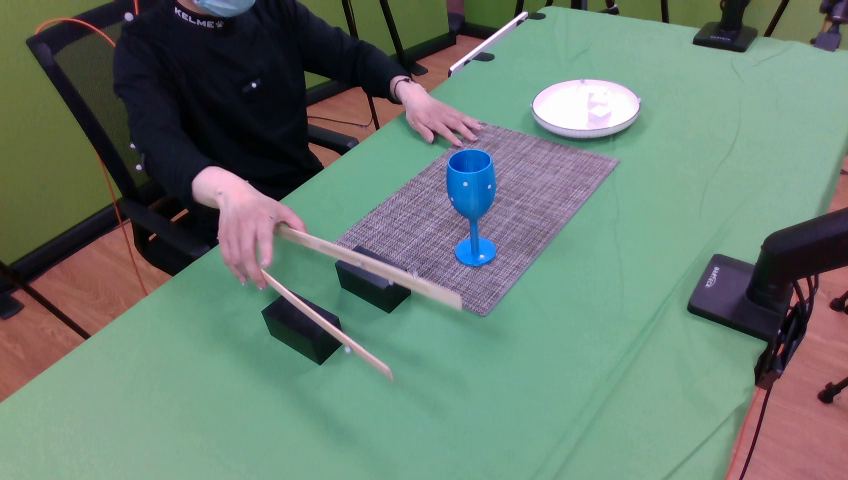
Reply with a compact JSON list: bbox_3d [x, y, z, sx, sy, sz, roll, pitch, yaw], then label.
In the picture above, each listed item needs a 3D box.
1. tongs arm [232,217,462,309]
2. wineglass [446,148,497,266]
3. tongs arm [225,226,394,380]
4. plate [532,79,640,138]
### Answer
[{"bbox_3d":[-0.122,0.032,0.846,0.382,0.026,0.051,21,50,29],"label":"tongs arm"},{"bbox_3d":[0.072,-0.045,0.889,0.074,0.173,0.073,-4,41,4],"label":"wineglass"},{"bbox_3d":[-0.168,0.074,0.806,0.028,0.028,0.384,-40,50,-24],"label":"tongs arm"},{"bbox_3d":[0.322,-0.259,1.212,0.209,0.038,0.208,-4,40,4],"label":"plate"}]
